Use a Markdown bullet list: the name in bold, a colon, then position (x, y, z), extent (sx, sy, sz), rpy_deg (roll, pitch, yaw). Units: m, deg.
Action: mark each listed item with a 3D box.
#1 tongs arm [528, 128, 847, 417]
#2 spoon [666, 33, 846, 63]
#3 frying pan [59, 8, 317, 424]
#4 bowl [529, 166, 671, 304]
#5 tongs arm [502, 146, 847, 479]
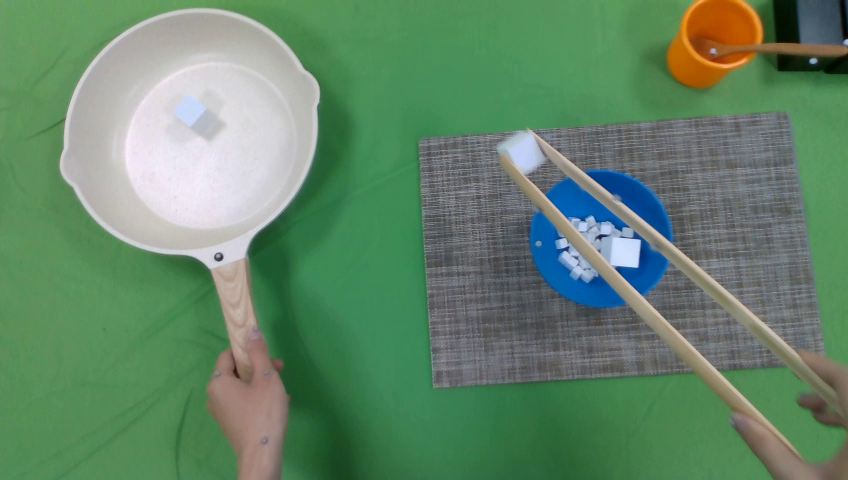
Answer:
- **tongs arm**: position (0.205, 0.030, 0.505), extent (0.051, 0.027, 0.381), rpy_deg (-39, 61, -9)
- **spoon**: position (0.360, -0.215, 0.675), extent (0.022, 0.192, 0.041), rpy_deg (38, 80, -36)
- **frying pan**: position (-0.237, -0.030, 0.690), extent (0.307, 0.103, 0.484), rpy_deg (-18, 73, 0)
- **bowl**: position (0.189, 0.000, 0.680), extent (0.151, 0.077, 0.151), rpy_deg (0, 81, 2)
- **tongs arm**: position (0.186, 0.043, 0.502), extent (0.028, 0.028, 0.383), rpy_deg (-34, 61, -10)
